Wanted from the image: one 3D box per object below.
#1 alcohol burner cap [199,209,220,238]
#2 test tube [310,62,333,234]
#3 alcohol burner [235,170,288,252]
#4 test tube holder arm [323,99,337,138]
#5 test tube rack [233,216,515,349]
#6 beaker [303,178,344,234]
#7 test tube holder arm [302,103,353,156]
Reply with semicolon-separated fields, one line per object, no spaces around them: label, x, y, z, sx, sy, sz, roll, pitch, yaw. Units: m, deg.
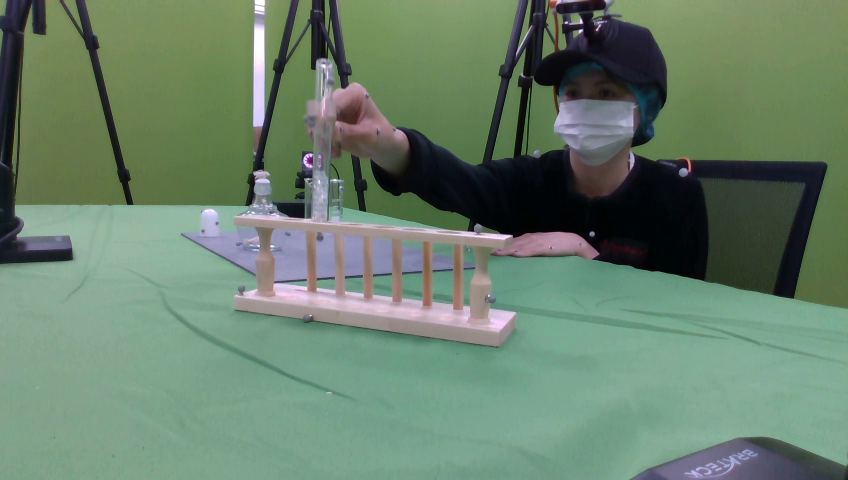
alcohol burner cap;-0.356;-0.027;1.002;0.034;0.048;0.034;3;7;0
test tube;-0.089;-0.080;0.525;0.017;0.150;0.017;1;-4;0
alcohol burner;-0.236;-0.042;0.882;0.078;0.119;0.078;2;9;0
test tube holder arm;-0.085;-0.108;0.549;0.010;0.015;0.087;-10;-3;-8
test tube rack;-0.045;0.029;0.526;0.241;0.085;0.067;5;8;19
beaker;-0.189;-0.063;1.119;0.073;0.100;0.084;6;9;28
test tube holder arm;-0.091;-0.105;0.594;0.013;0.015;0.178;-10;-3;2
